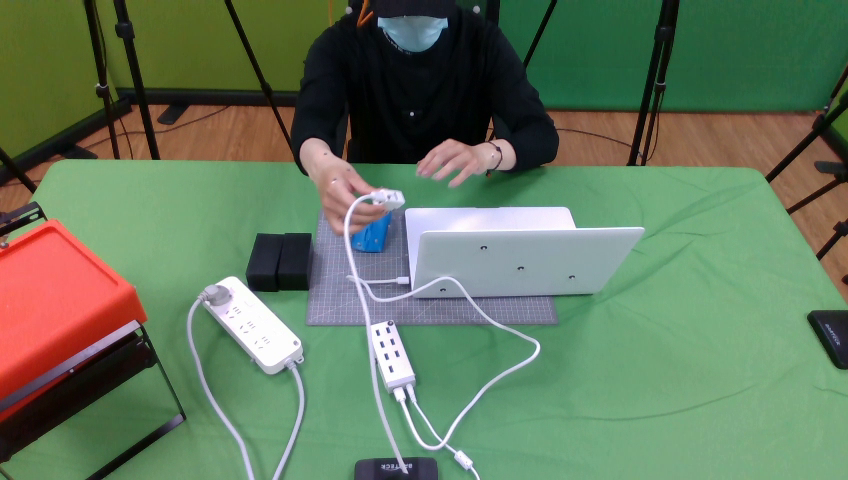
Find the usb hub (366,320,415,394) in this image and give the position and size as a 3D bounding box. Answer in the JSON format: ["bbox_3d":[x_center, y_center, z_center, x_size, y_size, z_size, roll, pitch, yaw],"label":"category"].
[{"bbox_3d":[-0.056,0.192,1.009,0.049,0.025,0.124,-12,49,-16],"label":"usb hub"}]

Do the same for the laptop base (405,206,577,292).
[{"bbox_3d":[0.143,0.018,1.196,0.355,0.023,0.234,-1,43,-6],"label":"laptop base"}]

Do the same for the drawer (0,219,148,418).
[{"bbox_3d":[-0.509,0.093,0.783,0.193,0.073,0.211,32,53,24],"label":"drawer"}]

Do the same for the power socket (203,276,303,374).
[{"bbox_3d":[-0.296,0.141,1.034,0.072,0.033,0.225,-35,58,-30],"label":"power socket"}]

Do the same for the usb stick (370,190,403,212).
[{"bbox_3d":[-0.052,-0.057,0.904,0.059,0.027,0.021,7,57,-59],"label":"usb stick"}]

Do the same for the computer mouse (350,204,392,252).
[{"bbox_3d":[-0.104,-0.027,1.202,0.063,0.041,0.116,11,51,3],"label":"computer mouse"}]

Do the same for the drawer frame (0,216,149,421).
[{"bbox_3d":[-0.510,0.093,0.780,0.201,0.083,0.213,31,52,23],"label":"drawer frame"}]

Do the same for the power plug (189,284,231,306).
[{"bbox_3d":[-0.367,0.100,1.037,0.072,0.053,0.035,-24,53,-27],"label":"power plug"}]

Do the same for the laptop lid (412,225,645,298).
[{"bbox_3d":[0.161,0.042,1.012,0.357,0.242,0.013,0,59,-7],"label":"laptop lid"}]
